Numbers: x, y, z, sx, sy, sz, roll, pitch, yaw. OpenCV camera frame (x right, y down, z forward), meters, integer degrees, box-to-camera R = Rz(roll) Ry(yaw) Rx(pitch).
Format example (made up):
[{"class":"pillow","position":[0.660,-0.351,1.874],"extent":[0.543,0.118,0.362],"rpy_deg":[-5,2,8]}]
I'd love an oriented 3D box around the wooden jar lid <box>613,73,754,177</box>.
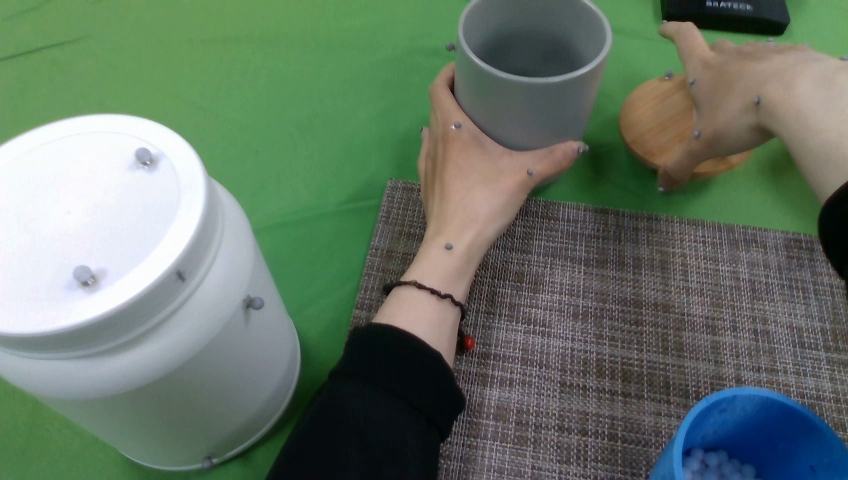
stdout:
[{"class":"wooden jar lid","position":[0.210,-0.093,0.497],"extent":[0.108,0.021,0.107],"rpy_deg":[-3,56,5]}]

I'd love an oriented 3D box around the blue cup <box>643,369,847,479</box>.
[{"class":"blue cup","position":[0.156,0.133,0.315],"extent":[0.092,0.101,0.092],"rpy_deg":[-1,56,1]}]

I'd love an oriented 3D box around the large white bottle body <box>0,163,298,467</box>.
[{"class":"large white bottle body","position":[-0.149,0.038,0.330],"extent":[0.130,0.186,0.129],"rpy_deg":[0,57,0]}]

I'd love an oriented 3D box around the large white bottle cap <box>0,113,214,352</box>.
[{"class":"large white bottle cap","position":[-0.150,-0.008,0.258],"extent":[0.115,0.018,0.114],"rpy_deg":[0,57,0]}]

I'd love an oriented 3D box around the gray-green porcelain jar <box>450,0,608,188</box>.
[{"class":"gray-green porcelain jar","position":[0.072,-0.110,0.462],"extent":[0.106,0.127,0.105],"rpy_deg":[0,57,0]}]
